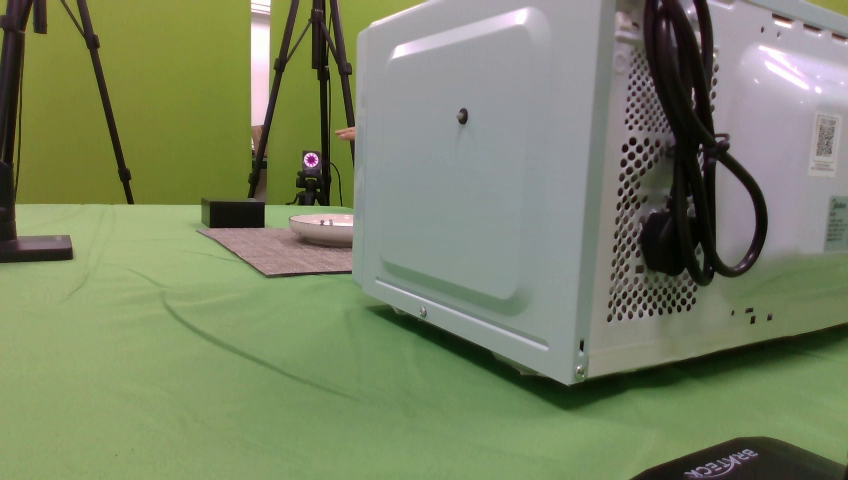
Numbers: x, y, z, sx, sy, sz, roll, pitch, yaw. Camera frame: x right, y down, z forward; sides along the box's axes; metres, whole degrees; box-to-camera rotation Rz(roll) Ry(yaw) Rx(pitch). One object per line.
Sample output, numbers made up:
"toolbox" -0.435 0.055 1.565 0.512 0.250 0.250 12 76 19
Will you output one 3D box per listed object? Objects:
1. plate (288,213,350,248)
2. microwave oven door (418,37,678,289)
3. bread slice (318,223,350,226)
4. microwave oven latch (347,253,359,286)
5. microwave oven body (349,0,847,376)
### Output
"plate" -0.122 -0.017 1.008 0.209 0.038 0.209 3 8 0
"microwave oven door" 0.159 -0.079 0.684 0.358 0.243 0.039 -2 9 -32
"bread slice" -0.122 -0.015 1.004 0.131 0.019 0.105 4 7 12
"microwave oven latch" -0.034 0.028 0.581 0.079 0.029 0.030 -1 7 -31
"microwave oven body" 0.199 -0.053 0.539 0.444 0.260 0.324 -1 8 -32
